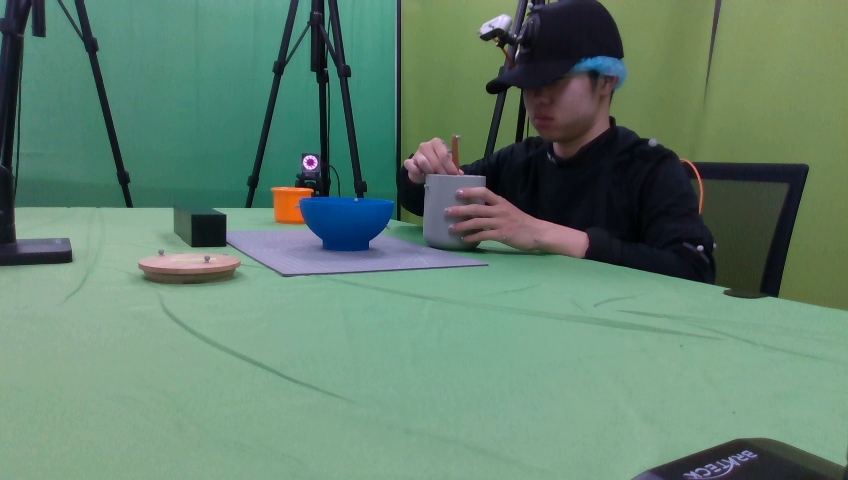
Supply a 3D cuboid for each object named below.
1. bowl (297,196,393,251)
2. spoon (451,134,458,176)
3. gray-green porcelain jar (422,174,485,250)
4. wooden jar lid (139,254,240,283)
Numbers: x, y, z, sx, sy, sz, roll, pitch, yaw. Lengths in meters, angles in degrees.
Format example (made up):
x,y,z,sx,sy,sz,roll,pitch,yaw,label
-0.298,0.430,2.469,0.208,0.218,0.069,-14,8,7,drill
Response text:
x,y,z,sx,sy,sz,roll,pitch,yaw,label
-0.125,-0.026,0.958,0.151,0.077,0.151,2,7,0,bowl
0.049,-0.086,1.035,0.022,0.193,0.041,-12,25,-36,spoon
0.050,-0.049,1.040,0.106,0.126,0.106,2,8,0,gray-green porcelain jar
-0.269,0.032,0.697,0.108,0.020,0.108,2,5,0,wooden jar lid
